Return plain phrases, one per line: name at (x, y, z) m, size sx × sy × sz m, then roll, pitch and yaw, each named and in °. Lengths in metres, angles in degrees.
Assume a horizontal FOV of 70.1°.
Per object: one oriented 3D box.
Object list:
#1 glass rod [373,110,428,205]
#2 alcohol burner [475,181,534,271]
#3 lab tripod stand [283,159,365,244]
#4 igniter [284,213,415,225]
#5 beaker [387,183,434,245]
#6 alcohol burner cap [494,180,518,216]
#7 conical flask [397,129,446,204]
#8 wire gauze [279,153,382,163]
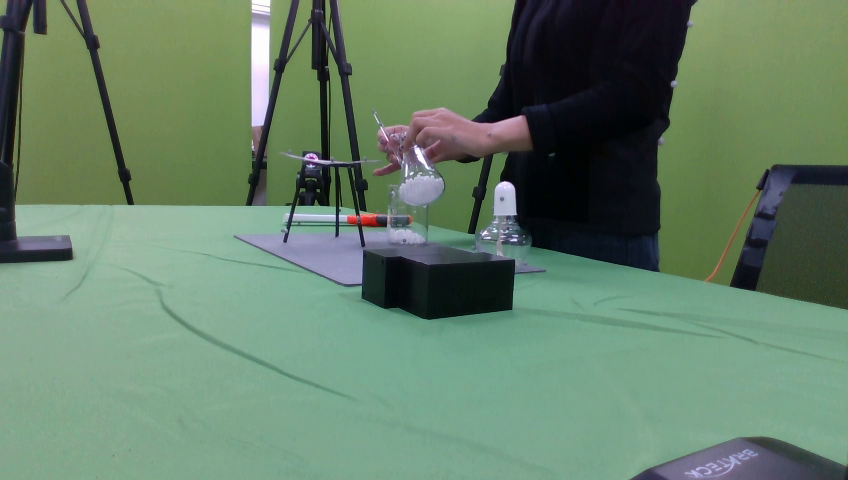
glass rod at (-0.041, -0.142, 1.020) m, size 0.008 × 0.199 × 0.008 m, roll -26°, pitch -18°, yaw -9°
alcohol burner at (0.108, -0.020, 0.804) m, size 0.078 × 0.119 × 0.078 m, roll 3°, pitch 5°, yaw 0°
lab tripod stand at (-0.151, -0.063, 0.983) m, size 0.148 × 0.131 × 0.148 m, roll 4°, pitch 7°, yaw 0°
igniter at (-0.154, -0.045, 1.282) m, size 0.278 × 0.025 × 0.057 m, roll 0°, pitch -3°, yaw -20°
beaker at (-0.027, -0.044, 1.012) m, size 0.074 × 0.100 × 0.083 m, roll -2°, pitch 8°, yaw -34°
alcohol burner cap at (0.108, -0.055, 0.800) m, size 0.034 × 0.048 × 0.034 m, roll -2°, pitch 4°, yaw 0°
conical flask at (-0.012, -0.122, 0.956) m, size 0.075 × 0.075 × 0.121 m, roll 0°, pitch 52°, yaw -16°
wire gauze at (-0.149, -0.129, 0.974) m, size 0.124 × 0.011 × 0.122 m, roll 10°, pitch 9°, yaw 41°
